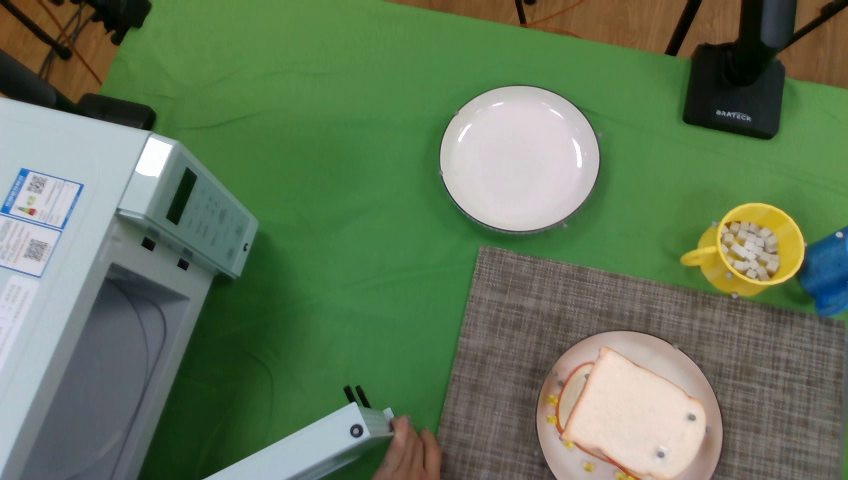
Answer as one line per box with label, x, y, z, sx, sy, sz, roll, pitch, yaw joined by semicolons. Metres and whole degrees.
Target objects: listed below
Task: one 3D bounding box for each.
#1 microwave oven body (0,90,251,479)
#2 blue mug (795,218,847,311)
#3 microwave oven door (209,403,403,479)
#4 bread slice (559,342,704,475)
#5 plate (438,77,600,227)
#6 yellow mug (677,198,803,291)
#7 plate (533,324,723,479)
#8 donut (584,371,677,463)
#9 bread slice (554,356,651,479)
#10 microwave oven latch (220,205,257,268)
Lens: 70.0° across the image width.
microwave oven body;-0.432;0.095;0.645;0.325;0.261;0.440;14;76;7
blue mug;0.487;0.032;0.695;0.082;0.106;0.116;33;79;12
microwave oven door;-0.197;0.250;0.582;0.356;0.245;0.039;-27;73;-4
bread slice;0.224;0.181;0.638;0.134;0.018;0.107;24;83;4
plate;0.121;-0.112;0.792;0.207;0.039;0.206;-1;74;3
yellow mug;0.372;0.009;0.728;0.131;0.064;0.099;-8;73;2
plate;0.229;0.201;0.693;0.209;0.038;0.208;-1;74;3
donut;0.226;0.194;0.666;0.099;0.048;0.098;-1;73;3
bread slice;0.216;0.196;0.694;0.131;0.019;0.104;24;77;10
microwave oven latch;-0.236;-0.007;0.763;0.030;0.029;0.079;17;76;8
